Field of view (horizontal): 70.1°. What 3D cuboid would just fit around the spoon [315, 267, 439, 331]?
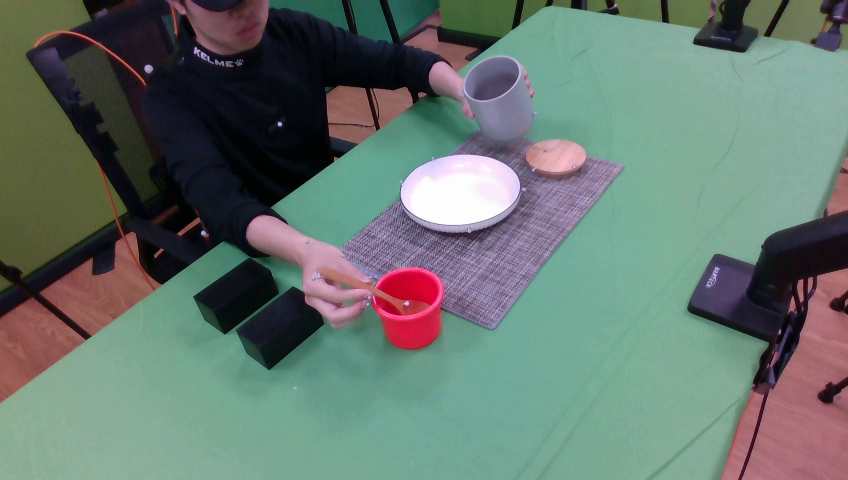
[{"bbox_3d":[-0.057,0.073,0.788,0.021,0.195,0.041,-22,48,43],"label":"spoon"}]

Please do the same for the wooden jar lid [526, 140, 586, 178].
[{"bbox_3d":[0.240,-0.147,1.103,0.108,0.021,0.108,-4,42,4],"label":"wooden jar lid"}]

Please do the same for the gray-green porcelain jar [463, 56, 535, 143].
[{"bbox_3d":[0.138,-0.246,1.084,0.105,0.127,0.105,-11,57,18],"label":"gray-green porcelain jar"}]

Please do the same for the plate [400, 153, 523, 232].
[{"bbox_3d":[0.065,-0.078,1.034,0.207,0.039,0.206,-4,41,4],"label":"plate"}]
